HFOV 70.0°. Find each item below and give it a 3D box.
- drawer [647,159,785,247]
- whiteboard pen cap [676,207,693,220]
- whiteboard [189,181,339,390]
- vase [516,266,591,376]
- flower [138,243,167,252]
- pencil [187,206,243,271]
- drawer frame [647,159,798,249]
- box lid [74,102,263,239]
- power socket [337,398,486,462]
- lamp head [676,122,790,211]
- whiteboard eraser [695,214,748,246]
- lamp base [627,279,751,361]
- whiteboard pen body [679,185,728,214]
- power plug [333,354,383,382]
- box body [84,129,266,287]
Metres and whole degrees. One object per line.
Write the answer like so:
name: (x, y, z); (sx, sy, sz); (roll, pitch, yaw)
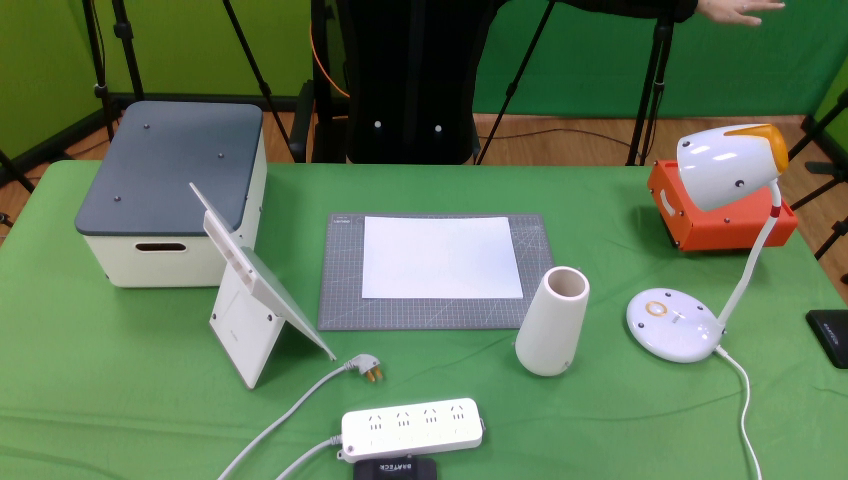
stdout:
drawer: (0.582, -0.079, 1.214); (0.212, 0.073, 0.193); (-1, 46, -5)
whiteboard pen cap: (0.524, -0.053, 1.216); (0.033, 0.018, 0.018); (-28, 54, -23)
whiteboard: (-0.292, 0.096, 0.929); (0.144, 0.307, 0.216); (-37, 57, -10)
vase: (0.208, 0.132, 0.964); (0.098, 0.201, 0.097); (3, 46, -3)
flower: (-0.443, -0.043, 1.194); (0.044, 0.038, 0.361); (46, 47, -7)
pencil: (-0.401, -0.008, 1.176); (0.012, 0.012, 0.193); (15, 44, 10)
drawer frame: (0.588, -0.077, 1.219); (0.214, 0.083, 0.200); (-2, 45, -5)
box lid: (-0.443, -0.138, 1.094); (0.263, 0.015, 0.369); (0, 46, -5)
power socket: (-0.018, 0.285, 0.914); (0.227, 0.033, 0.071); (-4, 46, -8)
lamp head: (0.423, -0.104, 0.819); (0.122, 0.113, 0.112); (-13, 33, 40)
whiteboard eraser: (0.592, -0.018, 1.209); (0.113, 0.042, 0.055); (12, 27, -36)
lamp base: (0.459, 0.100, 1.027); (0.178, 0.181, 0.160); (27, 51, 17)
whiteboard pen body: (0.570, -0.081, 1.239); (0.141, 0.017, 0.017); (-26, 53, -21)
power plug: (-0.103, 0.215, 0.988); (0.072, 0.035, 0.052); (-36, 77, 15)
box body: (-0.447, -0.088, 1.150); (0.254, 0.161, 0.361); (-1, 46, -5)
